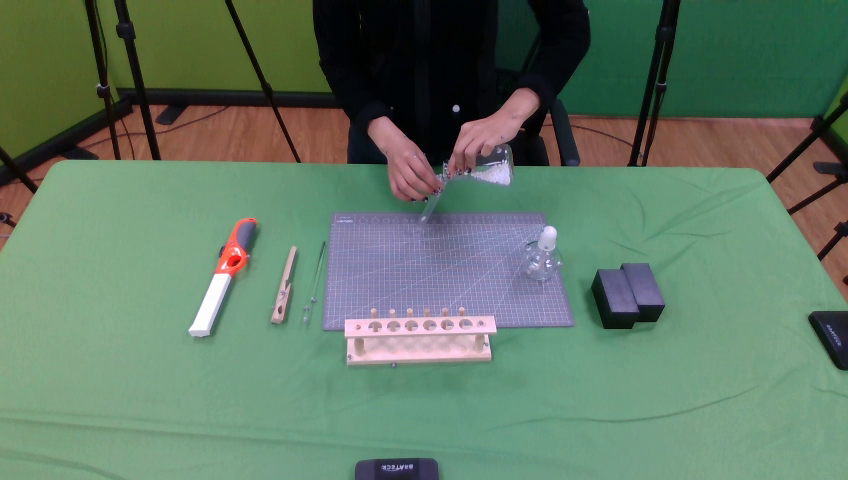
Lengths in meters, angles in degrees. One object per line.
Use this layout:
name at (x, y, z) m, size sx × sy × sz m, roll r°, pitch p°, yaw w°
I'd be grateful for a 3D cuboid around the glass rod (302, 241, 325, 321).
glass rod at (-0.203, 0.071, 1.124) m, size 0.008 × 0.008 × 0.198 m, roll 4°, pitch 44°, yaw 1°

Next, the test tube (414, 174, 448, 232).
test tube at (0.011, -0.066, 1.143) m, size 0.017 × 0.150 × 0.017 m, roll 14°, pitch 46°, yaw -14°

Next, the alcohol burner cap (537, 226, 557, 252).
alcohol burner cap at (0.226, -0.004, 1.104) m, size 0.034 × 0.048 × 0.033 m, roll 0°, pitch 50°, yaw 1°

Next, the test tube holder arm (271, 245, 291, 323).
test tube holder arm at (-0.260, 0.076, 1.105) m, size 0.013 × 0.015 × 0.177 m, roll 29°, pitch 38°, yaw -29°

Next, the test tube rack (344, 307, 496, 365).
test tube rack at (-0.009, 0.154, 1.007) m, size 0.242 × 0.085 × 0.066 m, roll -1°, pitch 46°, yaw -5°

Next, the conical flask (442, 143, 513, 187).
conical flask at (0.094, -0.128, 1.067) m, size 0.122 × 0.076 × 0.075 m, roll -3°, pitch 44°, yaw 14°

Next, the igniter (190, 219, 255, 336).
igniter at (-0.365, 0.058, 1.110) m, size 0.057 × 0.025 × 0.275 m, roll -1°, pitch 45°, yaw 8°

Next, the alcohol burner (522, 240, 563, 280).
alcohol burner at (0.224, 0.020, 1.131) m, size 0.078 × 0.119 × 0.077 m, roll 4°, pitch 46°, yaw -4°

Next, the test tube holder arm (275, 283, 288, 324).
test tube holder arm at (-0.254, 0.111, 1.077) m, size 0.010 × 0.015 × 0.087 m, roll 30°, pitch 37°, yaw -28°
